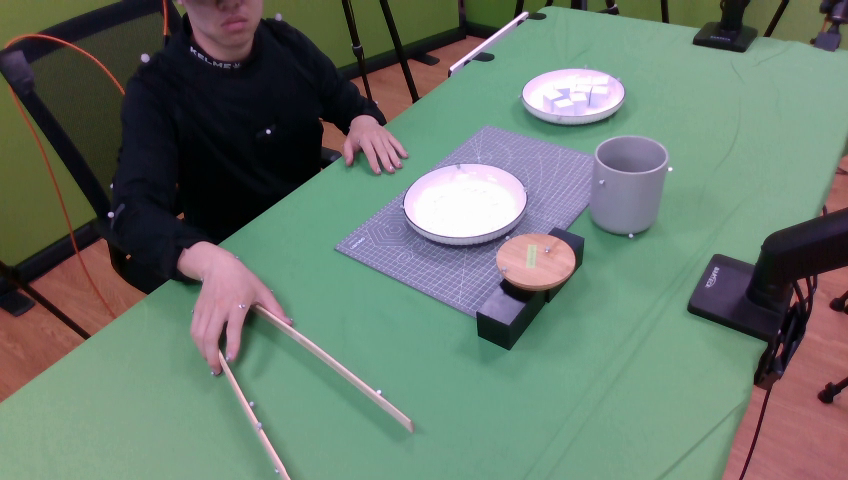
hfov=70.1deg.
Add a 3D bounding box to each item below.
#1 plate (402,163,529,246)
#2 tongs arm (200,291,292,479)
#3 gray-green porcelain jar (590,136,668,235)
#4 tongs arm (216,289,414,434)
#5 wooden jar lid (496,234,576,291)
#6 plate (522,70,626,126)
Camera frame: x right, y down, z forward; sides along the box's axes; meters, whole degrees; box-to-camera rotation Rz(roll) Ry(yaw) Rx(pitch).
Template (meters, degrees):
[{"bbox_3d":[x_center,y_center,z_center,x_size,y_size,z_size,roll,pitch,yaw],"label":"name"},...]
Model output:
[{"bbox_3d":[0.069,-0.056,1.008,0.209,0.038,0.208,-4,40,4],"label":"plate"},{"bbox_3d":[-0.219,0.185,0.774,0.051,0.026,0.381,-28,43,-24],"label":"tongs arm"},{"bbox_3d":[0.314,-0.080,0.937,0.106,0.127,0.105,-4,41,4],"label":"gray-green porcelain jar"},{"bbox_3d":[-0.158,0.151,0.813,0.384,0.028,0.028,26,53,33],"label":"tongs arm"},{"bbox_3d":[0.154,0.032,0.834,0.108,0.021,0.108,-5,40,5],"label":"wooden jar lid"},{"bbox_3d":[0.308,-0.290,1.251,0.207,0.039,0.206,-4,40,4],"label":"plate"}]
